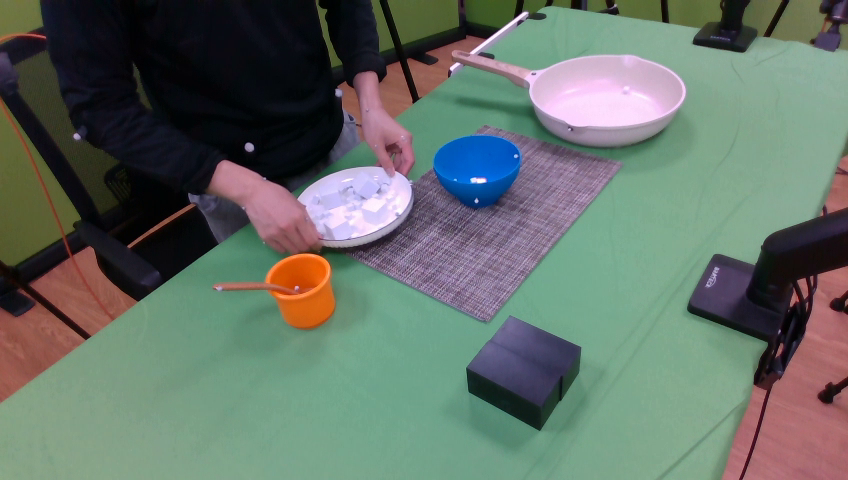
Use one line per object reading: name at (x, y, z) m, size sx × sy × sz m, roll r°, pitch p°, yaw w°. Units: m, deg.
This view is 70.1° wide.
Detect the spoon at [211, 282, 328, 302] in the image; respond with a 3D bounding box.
spoon at (-0.204, 0.067, 0.822) m, size 0.041 × 0.195 × 0.021 m, roll 27°, pitch 96°, yaw 36°

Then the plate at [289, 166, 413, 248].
plate at (-0.119, -0.052, 1.013) m, size 0.207 × 0.039 × 0.206 m, roll -6°, pitch 39°, yaw 5°

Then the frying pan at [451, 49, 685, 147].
frying pan at (0.269, -0.316, 1.233) m, size 0.485 × 0.103 × 0.307 m, roll 26°, pitch 49°, yaw 21°

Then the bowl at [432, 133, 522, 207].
bowl at (0.092, -0.110, 1.034) m, size 0.151 × 0.077 × 0.150 m, roll -4°, pitch 41°, yaw 4°
